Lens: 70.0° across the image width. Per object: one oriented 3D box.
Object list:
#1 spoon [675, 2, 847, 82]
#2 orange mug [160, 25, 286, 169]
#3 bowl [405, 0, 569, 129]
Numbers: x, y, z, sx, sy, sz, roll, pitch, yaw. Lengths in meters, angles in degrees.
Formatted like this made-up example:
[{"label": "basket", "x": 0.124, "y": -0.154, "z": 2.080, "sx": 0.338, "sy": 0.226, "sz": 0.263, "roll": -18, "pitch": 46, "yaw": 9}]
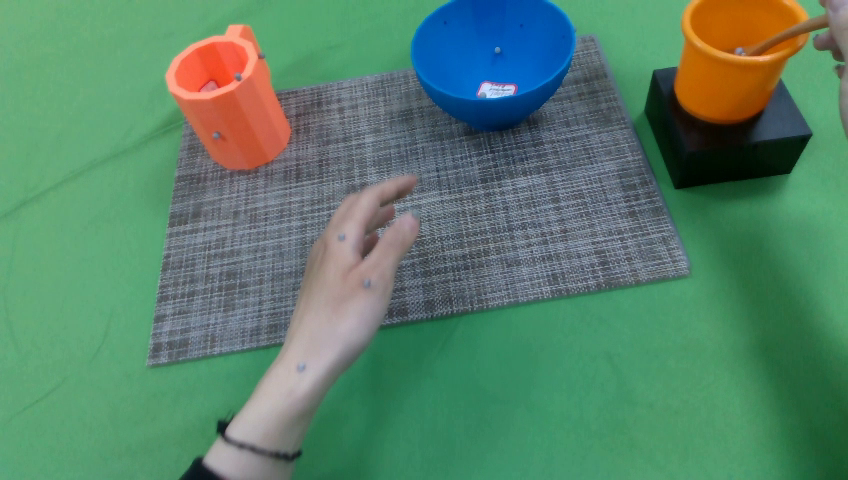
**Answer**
[{"label": "spoon", "x": 0.266, "y": -0.151, "z": 0.446, "sx": 0.022, "sy": 0.193, "sz": 0.041, "roll": 39, "pitch": 75, "yaw": -17}, {"label": "orange mug", "x": -0.190, "y": -0.148, "z": 0.599, "sx": 0.083, "sy": 0.102, "sz": 0.125, "roll": 1, "pitch": 62, "yaw": 9}, {"label": "bowl", "x": 0.061, "y": -0.161, "z": 0.582, "sx": 0.151, "sy": 0.077, "sz": 0.150, "roll": -3, "pitch": 57, "yaw": 6}]
